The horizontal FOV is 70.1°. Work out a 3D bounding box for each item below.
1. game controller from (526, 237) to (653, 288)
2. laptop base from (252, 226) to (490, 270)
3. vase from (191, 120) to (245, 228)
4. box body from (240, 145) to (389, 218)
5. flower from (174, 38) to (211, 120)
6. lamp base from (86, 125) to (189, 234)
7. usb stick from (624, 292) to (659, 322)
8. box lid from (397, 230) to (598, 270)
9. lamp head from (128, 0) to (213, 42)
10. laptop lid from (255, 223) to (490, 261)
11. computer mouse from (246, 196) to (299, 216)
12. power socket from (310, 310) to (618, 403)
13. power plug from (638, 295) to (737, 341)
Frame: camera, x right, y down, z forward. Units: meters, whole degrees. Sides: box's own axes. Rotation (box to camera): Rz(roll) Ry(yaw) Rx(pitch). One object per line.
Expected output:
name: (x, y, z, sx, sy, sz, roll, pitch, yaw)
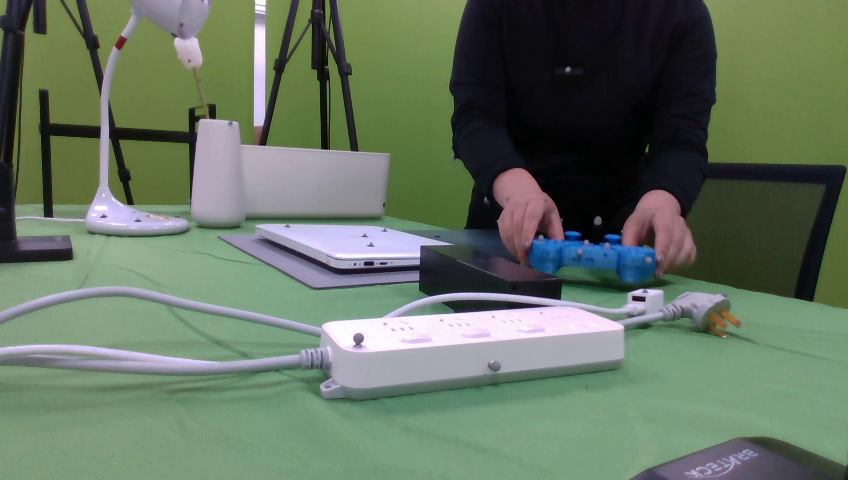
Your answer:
game controller: (0.200, 0.025, 0.737, 0.155, 0.051, 0.097, 5, 7, 16)
laptop base: (-0.096, 0.011, 0.911, 0.237, 0.023, 0.352, 3, 6, -32)
vase: (-0.389, -0.124, 1.142, 0.098, 0.200, 0.098, 3, 9, 0)
box body: (-0.297, -0.143, 1.474, 0.366, 0.160, 0.253, -1, 9, -30)
flower: (-0.401, -0.207, 1.141, 0.038, 0.361, 0.044, -14, 3, 44)
lamp base: (-0.497, -0.105, 1.027, 0.179, 0.180, 0.160, 1, 7, 3)
usb stick: (0.211, 0.064, 0.580, 0.021, 0.027, 0.059, -2, -4, 36)
box lid: (0.139, 0.013, 1.045, 0.265, 0.015, 0.369, -1, 8, -32)
lamp head: (-0.423, -0.394, 0.980, 0.123, 0.112, 0.112, 20, 7, -3)
laptop lid: (-0.093, 0.000, 0.911, 0.243, 0.013, 0.355, 1, 7, -30)
computer mouse: (-0.346, -0.078, 1.381, 0.118, 0.041, 0.062, -10, 16, -28)
power socket: (0.033, 0.074, 0.415, 0.228, 0.032, 0.072, -1, 8, -24)
power plug: (0.235, 0.077, 0.535, 0.072, 0.035, 0.052, -33, 40, -6)
